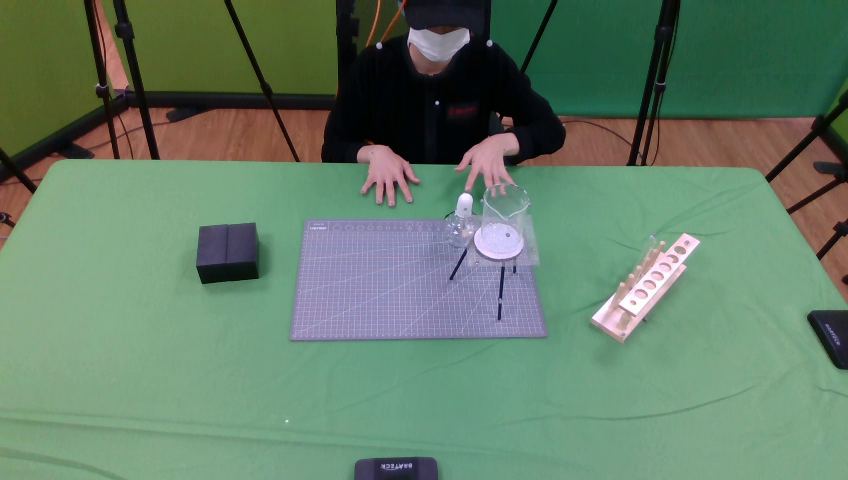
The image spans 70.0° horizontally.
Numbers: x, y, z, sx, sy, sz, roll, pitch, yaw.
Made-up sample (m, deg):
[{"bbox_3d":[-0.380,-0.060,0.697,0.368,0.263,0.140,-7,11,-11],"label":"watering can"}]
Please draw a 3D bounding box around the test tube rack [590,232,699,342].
[{"bbox_3d":[0.407,0.074,1.112,0.066,0.085,0.242,35,53,26],"label":"test tube rack"}]

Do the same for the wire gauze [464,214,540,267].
[{"bbox_3d":[0.131,-0.001,1.034,0.121,0.011,0.124,1,44,-2],"label":"wire gauze"}]

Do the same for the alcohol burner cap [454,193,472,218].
[{"bbox_3d":[0.076,-0.068,1.151,0.034,0.048,0.033,4,46,-4],"label":"alcohol burner cap"}]

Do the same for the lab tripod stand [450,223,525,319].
[{"bbox_3d":[0.120,0.046,1.080,0.148,0.132,0.147,1,47,-1],"label":"lab tripod stand"}]

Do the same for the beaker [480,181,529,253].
[{"bbox_3d":[0.130,-0.033,0.998,0.074,0.101,0.083,5,47,4],"label":"beaker"}]

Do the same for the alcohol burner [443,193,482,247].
[{"bbox_3d":[0.075,-0.044,1.177,0.078,0.120,0.077,1,44,-1],"label":"alcohol burner"}]

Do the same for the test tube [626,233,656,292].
[{"bbox_3d":[0.384,0.042,1.079,0.017,0.151,0.017,1,47,-1],"label":"test tube"}]
